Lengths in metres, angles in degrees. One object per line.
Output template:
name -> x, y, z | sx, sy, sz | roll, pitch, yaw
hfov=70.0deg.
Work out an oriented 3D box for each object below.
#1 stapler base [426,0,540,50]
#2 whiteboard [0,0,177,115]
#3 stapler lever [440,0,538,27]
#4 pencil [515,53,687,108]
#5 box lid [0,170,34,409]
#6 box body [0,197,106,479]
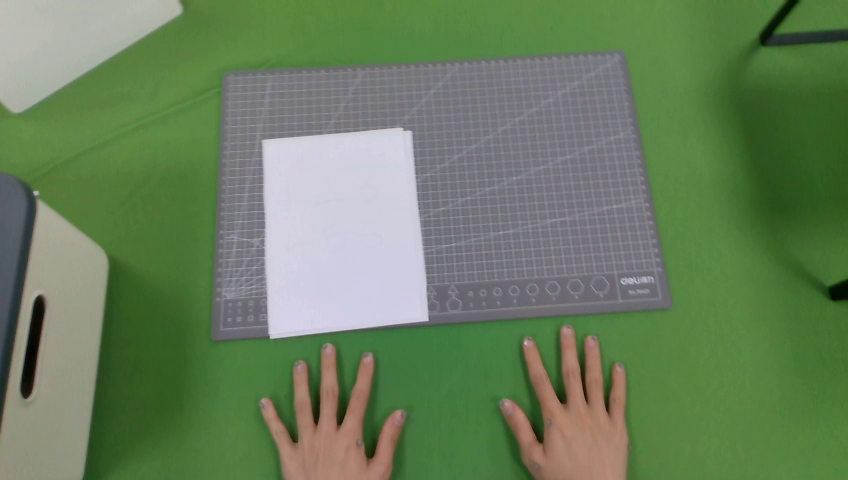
stapler base -> 0.068, -0.255, 0.681 | 0.130, 0.024, 0.041 | 23, 73, 6
whiteboard -> -0.438, -0.323, 0.588 | 0.217, 0.308, 0.142 | -37, 57, -11
stapler lever -> 0.067, -0.263, 0.655 | 0.118, 0.040, 0.026 | 22, 72, 7
pencil -> 0.192, -0.178, 0.666 | 0.193, 0.012, 0.012 | 20, 73, 9
box lid -> -0.481, 0.075, 0.426 | 0.372, 0.015, 0.261 | -2, 72, -2
box body -> -0.479, 0.099, 0.497 | 0.364, 0.161, 0.252 | -3, 73, -1
